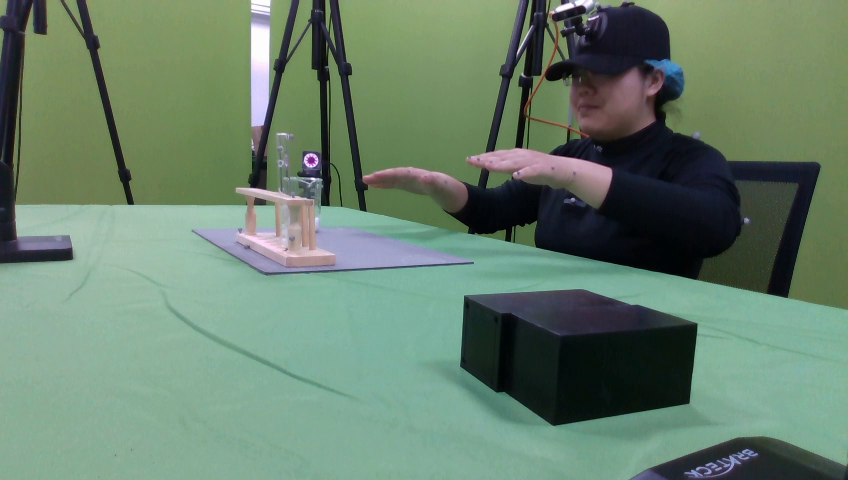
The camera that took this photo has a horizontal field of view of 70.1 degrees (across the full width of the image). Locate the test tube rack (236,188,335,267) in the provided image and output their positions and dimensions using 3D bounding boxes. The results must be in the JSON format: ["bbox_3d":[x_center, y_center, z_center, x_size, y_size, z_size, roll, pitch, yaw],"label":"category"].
[{"bbox_3d":[-0.202,-0.025,0.855,0.067,0.085,0.241,-2,9,-31],"label":"test tube rack"}]

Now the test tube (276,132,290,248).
[{"bbox_3d":[-0.180,-0.063,0.778,0.017,0.150,0.017,0,9,0],"label":"test tube"}]

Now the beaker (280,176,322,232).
[{"bbox_3d":[-0.224,-0.065,1.111,0.074,0.100,0.083,-2,10,-30],"label":"beaker"}]
